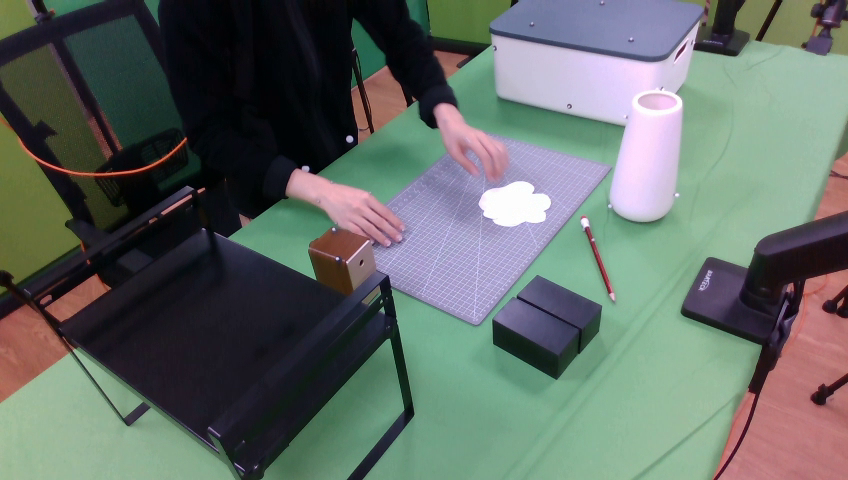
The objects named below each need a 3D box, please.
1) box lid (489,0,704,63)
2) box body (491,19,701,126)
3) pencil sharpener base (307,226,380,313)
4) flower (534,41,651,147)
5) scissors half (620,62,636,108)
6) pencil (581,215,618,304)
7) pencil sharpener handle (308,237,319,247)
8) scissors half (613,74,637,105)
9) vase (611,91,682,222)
[{"bbox_3d":[0.345,-0.441,1.217,0.369,0.015,0.264,21,49,29],"label":"box lid"},{"bbox_3d":[0.352,-0.384,1.268,0.361,0.161,0.255,21,48,29],"label":"box body"},{"bbox_3d":[-0.116,0.043,0.875,0.076,0.107,0.061,18,47,27],"label":"pencil sharpener base"},{"bbox_3d":[0.364,-0.319,1.318,0.038,0.044,0.359,-4,48,-49],"label":"flower"},{"bbox_3d":[0.434,-0.340,1.298,0.013,0.040,0.174,25,42,-12],"label":"scissors half"},{"bbox_3d":[0.266,0.026,0.917,0.012,0.012,0.193,-6,42,1],"label":"pencil"},{"bbox_3d":[-0.159,0.017,0.892,0.030,0.068,0.036,18,61,28],"label":"pencil sharpener handle"},{"bbox_3d":[0.427,-0.330,1.306,0.013,0.040,0.174,31,31,-14],"label":"scissors half"},{"bbox_3d":[0.348,-0.125,0.935,0.098,0.201,0.097,-3,40,3],"label":"vase"}]
